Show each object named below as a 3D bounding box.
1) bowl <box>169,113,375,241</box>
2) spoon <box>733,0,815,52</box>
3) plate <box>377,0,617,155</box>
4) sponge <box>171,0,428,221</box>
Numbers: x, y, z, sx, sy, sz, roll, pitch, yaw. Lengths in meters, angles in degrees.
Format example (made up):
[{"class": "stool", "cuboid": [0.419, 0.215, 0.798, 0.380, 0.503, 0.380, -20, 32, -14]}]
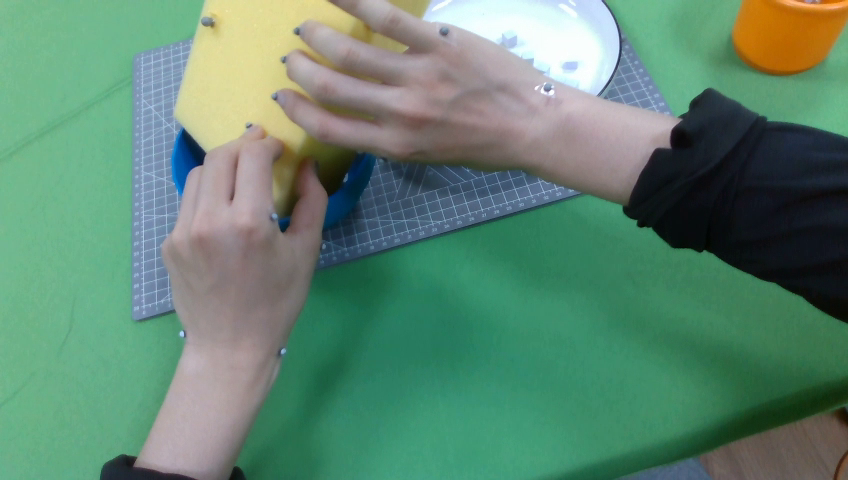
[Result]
[{"class": "bowl", "cuboid": [-0.104, -0.055, 0.464, 0.151, 0.077, 0.150, -4, 60, 7]}, {"class": "spoon", "cuboid": [0.322, -0.215, 0.451, 0.022, 0.194, 0.041, 3, 54, -42]}, {"class": "plate", "cuboid": [0.055, -0.153, 0.518, 0.209, 0.038, 0.207, -4, 61, 7]}, {"class": "sponge", "cuboid": [-0.082, -0.129, 0.390, 0.117, 0.207, 0.061, 45, 34, 18]}]
